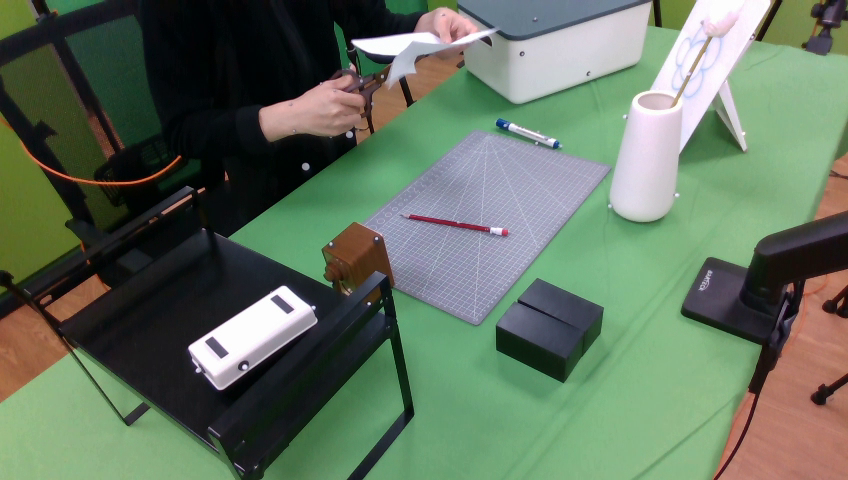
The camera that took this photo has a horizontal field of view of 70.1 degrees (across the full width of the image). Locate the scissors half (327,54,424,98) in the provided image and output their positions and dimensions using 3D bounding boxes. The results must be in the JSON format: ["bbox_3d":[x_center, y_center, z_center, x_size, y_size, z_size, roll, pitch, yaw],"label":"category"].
[{"bbox_3d":[-0.076,-0.251,0.908,0.174,0.040,0.013,-9,29,28],"label":"scissors half"}]

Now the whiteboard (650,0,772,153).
[{"bbox_3d":[0.543,-0.298,1.076,0.144,0.305,0.216,12,40,-7],"label":"whiteboard"}]

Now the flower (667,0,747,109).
[{"bbox_3d":[0.354,-0.187,0.879,0.038,0.362,0.044,30,48,14],"label":"flower"}]

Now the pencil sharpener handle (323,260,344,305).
[{"bbox_3d":[-0.131,0.062,0.839,0.035,0.068,0.031,29,56,28],"label":"pencil sharpener handle"}]

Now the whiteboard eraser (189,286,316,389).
[{"bbox_3d":[-0.166,0.096,0.593,0.113,0.042,0.055,-36,47,-29],"label":"whiteboard eraser"}]

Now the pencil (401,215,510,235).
[{"bbox_3d":[0.049,-0.027,1.007,0.193,0.012,0.012,10,43,21],"label":"pencil"}]

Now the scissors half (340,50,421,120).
[{"bbox_3d":[-0.065,-0.233,0.914,0.174,0.040,0.013,-34,10,36],"label":"scissors half"}]

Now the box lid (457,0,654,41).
[{"bbox_3d":[0.285,-0.522,1.323,0.373,0.015,0.261,-22,43,-16],"label":"box lid"}]

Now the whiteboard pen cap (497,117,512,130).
[{"bbox_3d":[0.165,-0.235,1.227,0.033,0.018,0.018,31,53,31],"label":"whiteboard pen cap"}]

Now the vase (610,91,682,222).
[{"bbox_3d":[0.348,-0.125,0.935,0.098,0.201,0.097,-3,40,3],"label":"vase"}]

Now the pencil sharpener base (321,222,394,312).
[{"bbox_3d":[-0.096,0.041,0.873,0.061,0.107,0.077,26,54,32],"label":"pencil sharpener base"}]

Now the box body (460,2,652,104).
[{"bbox_3d":[0.291,-0.465,1.371,0.365,0.161,0.252,-22,42,-16],"label":"box body"}]

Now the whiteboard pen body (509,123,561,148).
[{"bbox_3d":[0.208,-0.212,1.195,0.139,0.017,0.017,30,52,33],"label":"whiteboard pen body"}]
